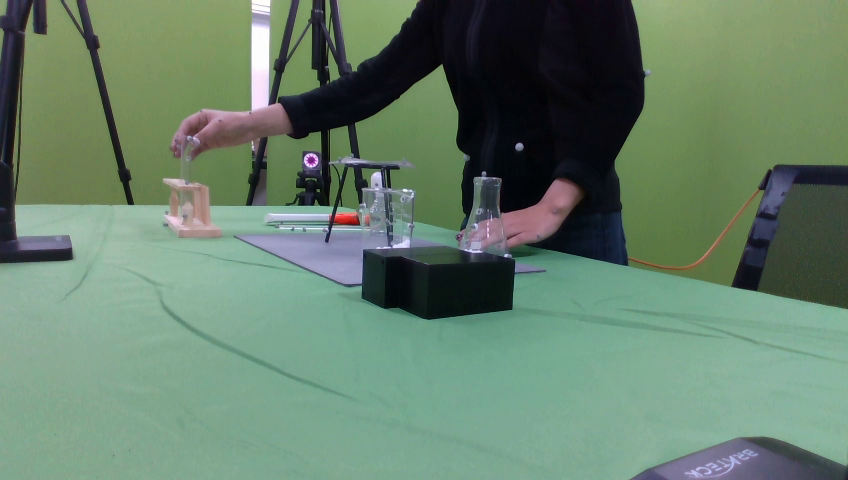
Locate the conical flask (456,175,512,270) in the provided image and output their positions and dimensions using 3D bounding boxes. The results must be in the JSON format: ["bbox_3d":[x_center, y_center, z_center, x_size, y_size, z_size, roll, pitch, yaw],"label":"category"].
[{"bbox_3d":[0.082,-0.025,0.801,0.075,0.122,0.075,2,7,0],"label":"conical flask"}]

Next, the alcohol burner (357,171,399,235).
[{"bbox_3d":[-0.085,-0.069,1.125,0.078,0.119,0.078,3,10,0],"label":"alcohol burner"}]

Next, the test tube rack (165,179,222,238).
[{"bbox_3d":[-0.423,-0.062,1.098,0.067,0.085,0.241,-2,9,-28],"label":"test tube rack"}]

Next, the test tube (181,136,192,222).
[{"bbox_3d":[-0.412,-0.105,1.048,0.017,0.150,0.017,4,7,0],"label":"test tube"}]

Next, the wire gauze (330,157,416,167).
[{"bbox_3d":[-0.079,-0.126,0.972,0.121,0.011,0.125,4,8,5],"label":"wire gauze"}]

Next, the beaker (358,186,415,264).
[{"bbox_3d":[-0.048,-0.021,0.817,0.083,0.100,0.074,9,10,41],"label":"beaker"}]

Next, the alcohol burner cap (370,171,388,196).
[{"bbox_3d":[-0.085,-0.104,1.121,0.034,0.048,0.034,-4,8,1],"label":"alcohol burner cap"}]

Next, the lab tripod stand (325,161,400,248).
[{"bbox_3d":[-0.083,-0.060,0.977,0.148,0.131,0.148,4,8,0],"label":"lab tripod stand"}]

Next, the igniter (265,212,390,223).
[{"bbox_3d":[-0.196,-0.048,1.285,0.278,0.025,0.057,-2,-2,-30],"label":"igniter"}]

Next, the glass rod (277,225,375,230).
[{"bbox_3d":[-0.186,-0.024,1.178,0.201,0.008,0.008,1,7,-31],"label":"glass rod"}]
